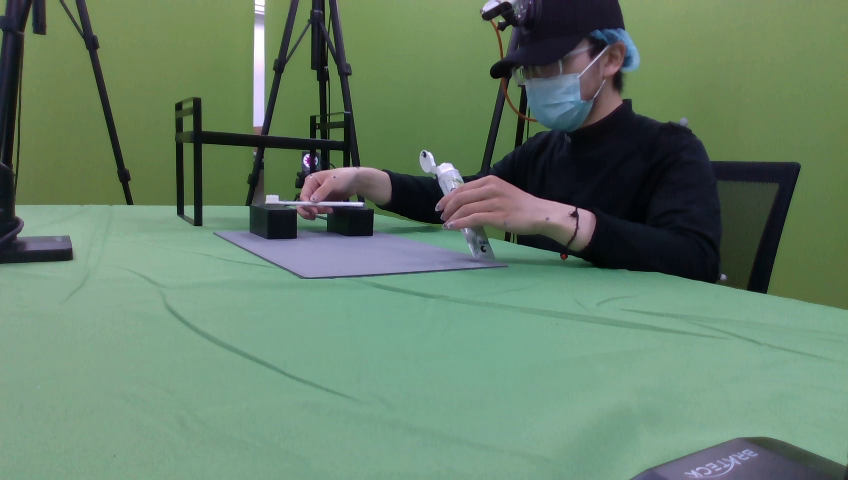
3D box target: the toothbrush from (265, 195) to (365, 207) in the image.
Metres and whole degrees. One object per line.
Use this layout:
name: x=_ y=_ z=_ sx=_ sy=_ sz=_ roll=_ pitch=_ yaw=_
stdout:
toothbrush: x=-0.192 y=-0.068 z=1.082 sx=0.183 sy=0.016 sz=0.014 roll=0 pitch=-7 yaw=-26

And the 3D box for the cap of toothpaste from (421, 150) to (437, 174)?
cap of toothpaste: x=0.008 y=-0.119 z=0.916 sx=0.011 sy=0.037 sz=0.037 roll=-20 pitch=18 yaw=-27

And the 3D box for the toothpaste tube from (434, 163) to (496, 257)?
toothpaste tube: x=0.057 y=-0.047 z=0.891 sx=0.055 sy=0.164 sz=0.034 roll=-1 pitch=-32 yaw=-45
